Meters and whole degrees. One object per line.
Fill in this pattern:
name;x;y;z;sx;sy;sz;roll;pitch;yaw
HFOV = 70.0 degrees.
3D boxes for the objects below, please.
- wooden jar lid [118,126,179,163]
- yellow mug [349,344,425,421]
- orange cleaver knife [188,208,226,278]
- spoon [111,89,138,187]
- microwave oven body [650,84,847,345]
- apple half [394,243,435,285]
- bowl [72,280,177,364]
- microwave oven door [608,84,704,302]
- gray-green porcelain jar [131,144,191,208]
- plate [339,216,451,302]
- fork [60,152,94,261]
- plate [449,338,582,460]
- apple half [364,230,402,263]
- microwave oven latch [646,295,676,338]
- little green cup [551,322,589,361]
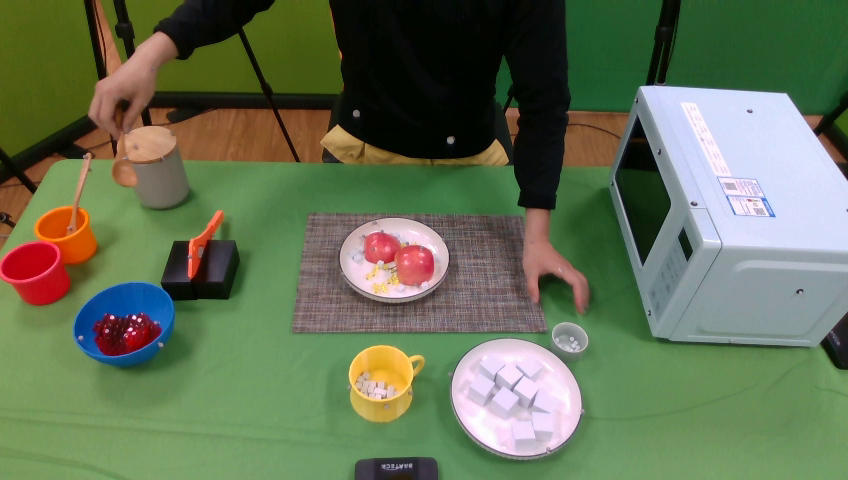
wooden jar lid;-0.528;-0.181;1.167;0.108;0.021;0.107;4;48;-4
yellow mug;-0.054;0.217;0.954;0.131;0.064;0.099;-24;53;-25
orange cleaver knife;-0.400;0.001;1.122;0.012;0.077;0.210;7;23;-5
spoon;-0.511;-0.174;1.022;0.042;0.021;0.193;0;70;-39
microwave oven body;0.569;-0.054;1.116;0.326;0.261;0.439;2;46;-1
apple half;-0.016;0.037;1.120;0.075;0.053;0.080;1;46;-6
bowl;-0.472;0.147;0.982;0.151;0.077;0.150;2;46;-2
microwave oven door;0.425;-0.096;1.138;0.039;0.245;0.353;2;47;-1
gray-green porcelain jar;-0.531;-0.137;1.213;0.106;0.127;0.105;2;47;-2
plate;-0.054;0.038;1.138;0.209;0.038;0.208;2;46;-2
fork;-0.637;-0.063;1.119;0.028;0.018;0.207;12;90;15
plate;0.141;0.251;0.955;0.208;0.039;0.206;2;47;-2
apple half;-0.079;0.005;1.159;0.081;0.033;0.081;3;49;-3
microwave oven latch;0.413;0.133;1.060;0.030;0.029;0.078;4;46;1
little green cup;0.247;0.175;1.033;0.061;0.039;0.061;3;45;-2
